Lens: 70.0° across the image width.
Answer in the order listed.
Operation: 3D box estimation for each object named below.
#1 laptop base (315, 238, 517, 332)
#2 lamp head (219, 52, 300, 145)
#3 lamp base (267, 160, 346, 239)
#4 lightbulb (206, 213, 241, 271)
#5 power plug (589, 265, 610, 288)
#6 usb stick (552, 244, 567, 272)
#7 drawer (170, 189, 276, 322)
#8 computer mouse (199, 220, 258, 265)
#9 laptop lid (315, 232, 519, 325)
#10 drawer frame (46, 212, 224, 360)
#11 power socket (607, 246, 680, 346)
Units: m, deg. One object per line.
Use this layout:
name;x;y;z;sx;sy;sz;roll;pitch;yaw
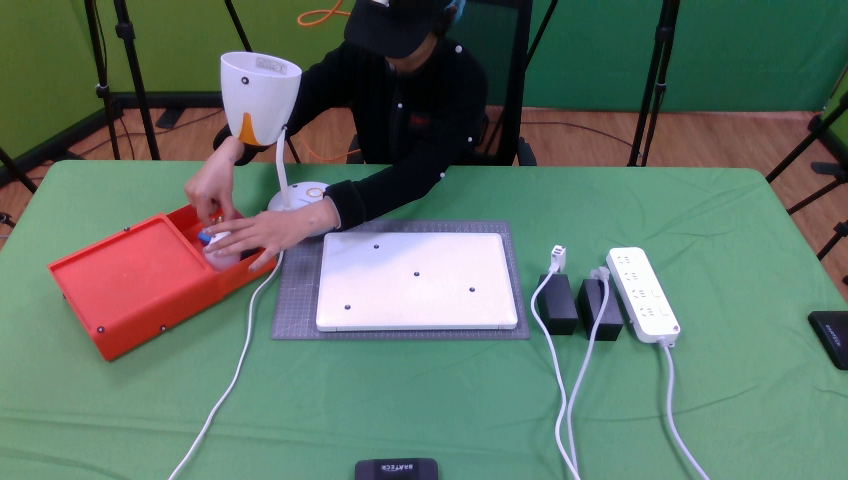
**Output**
laptop base;-0.016;0.075;1.125;0.355;0.023;0.234;0;42;-4
lamp head;-0.244;-0.204;0.889;0.112;0.123;0.112;11;33;-7
lamp base;-0.241;-0.111;1.175;0.160;0.181;0.178;11;48;10
lightbulb;-0.361;0.003;1.087;0.059;0.060;0.107;-4;71;-8
power plug;0.317;0.073;1.108;0.035;0.053;0.072;26;33;13
usb stick;0.251;0.039;1.123;0.021;0.059;0.027;14;47;24
drawer;-0.414;0.023;1.109;0.212;0.073;0.193;-34;57;-29
computer mouse;-0.374;-0.001;1.154;0.116;0.041;0.063;31;52;27
laptop lid;-0.015;0.065;1.118;0.357;0.013;0.240;1;43;-3
drawer frame;-0.495;0.071;1.050;0.213;0.083;0.200;-33;56;-30
power socket;0.403;0.096;1.123;0.072;0.033;0.225;-2;46;-5
